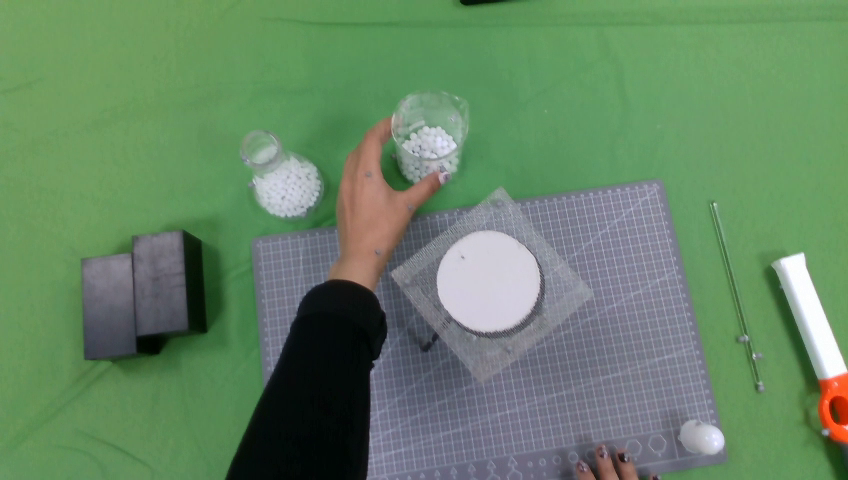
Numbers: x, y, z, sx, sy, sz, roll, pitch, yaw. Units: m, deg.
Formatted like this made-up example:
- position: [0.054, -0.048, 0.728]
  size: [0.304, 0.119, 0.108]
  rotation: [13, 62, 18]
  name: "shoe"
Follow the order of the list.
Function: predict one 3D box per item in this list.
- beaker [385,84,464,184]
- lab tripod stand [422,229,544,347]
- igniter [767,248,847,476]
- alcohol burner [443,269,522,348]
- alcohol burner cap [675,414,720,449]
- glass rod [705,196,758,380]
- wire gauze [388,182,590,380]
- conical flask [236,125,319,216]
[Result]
- position: [0.003, -0.105, 0.622]
  size: [0.084, 0.100, 0.073]
  rotation: [-36, 81, -8]
  name: "beaker"
- position: [0.054, 0.051, 0.571]
  size: [0.148, 0.132, 0.148]
  rotation: [0, 80, 0]
  name: "lab tripod stand"
- position: [0.412, 0.143, 0.613]
  size: [0.057, 0.025, 0.275]
  rotation: [-13, 79, -14]
  name: "igniter"
- position: [0.058, 0.063, 0.579]
  size: [0.078, 0.119, 0.077]
  rotation: [0, 76, -1]
  name: "alcohol burner"
- position: [0.270, 0.188, 0.592]
  size: [0.034, 0.048, 0.033]
  rotation: [0, 78, 0]
  name: "alcohol burner cap"
- position: [0.326, 0.048, 0.641]
  size: [0.008, 0.008, 0.198]
  rotation: [-9, 79, -3]
  name: "glass rod"
- position: [0.054, 0.033, 0.506]
  size: [0.125, 0.011, 0.121]
  rotation: [-38, 83, -6]
  name: "wire gauze"
- position: [-0.150, -0.074, 0.602]
  size: [0.075, 0.122, 0.075]
  rotation: [0, 78, 0]
  name: "conical flask"
